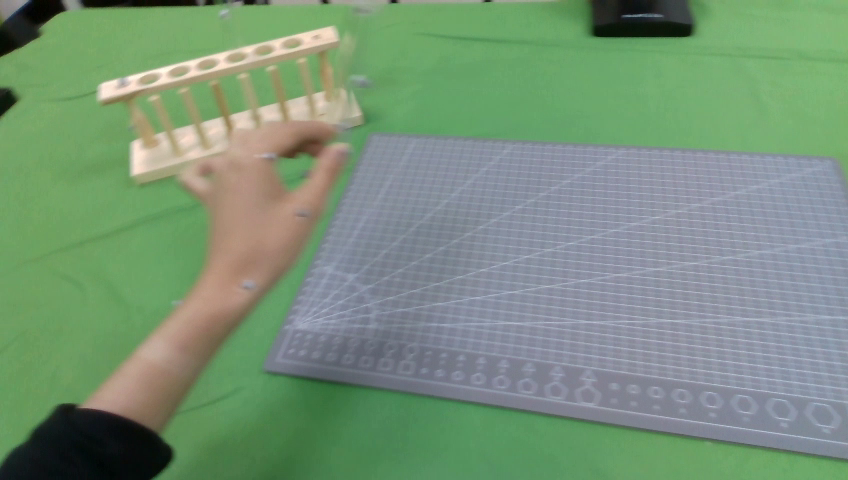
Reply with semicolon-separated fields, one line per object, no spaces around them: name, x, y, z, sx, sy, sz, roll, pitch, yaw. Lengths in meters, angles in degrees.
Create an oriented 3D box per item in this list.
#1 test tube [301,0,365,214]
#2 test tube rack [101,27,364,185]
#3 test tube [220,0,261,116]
test tube;-0.062;-0.080;0.396;0.017;0.151;0.017;13;34;-9
test tube rack;-0.194;-0.142;0.634;0.243;0.086;0.066;-17;47;-10
test tube;-0.187;-0.195;0.614;0.017;0.151;0.017;-1;39;1
